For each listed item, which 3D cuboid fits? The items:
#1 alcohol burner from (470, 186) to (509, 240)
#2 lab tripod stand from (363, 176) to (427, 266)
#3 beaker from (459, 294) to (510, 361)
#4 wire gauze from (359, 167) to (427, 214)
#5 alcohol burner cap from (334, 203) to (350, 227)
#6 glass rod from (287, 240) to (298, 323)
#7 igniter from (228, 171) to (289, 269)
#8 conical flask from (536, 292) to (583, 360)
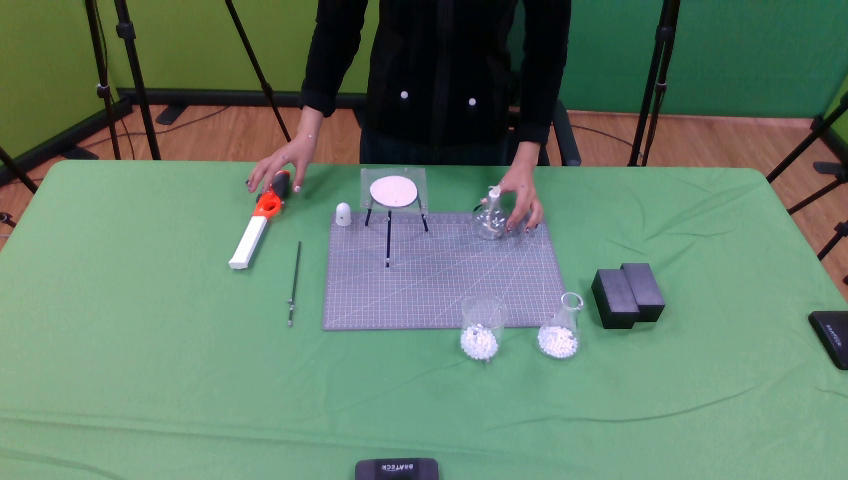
[{"bbox_3d":[0.132,-0.058,1.199,0.078,0.120,0.077,1,43,-1],"label":"alcohol burner"},{"bbox_3d":[-0.057,-0.047,1.159,0.148,0.132,0.147,3,44,-2],"label":"lab tripod stand"},{"bbox_3d":[0.095,0.147,1.012,0.083,0.101,0.074,26,49,21],"label":"beaker"},{"bbox_3d":[-0.058,-0.093,1.110,0.125,0.011,0.120,2,45,-5],"label":"wire gauze"},{"bbox_3d":[-0.166,-0.054,1.220,0.034,0.048,0.033,2,46,-2],"label":"alcohol burner cap"},{"bbox_3d":[-0.242,0.072,1.119,0.008,0.008,0.198,-1,47,-5],"label":"glass rod"},{"bbox_3d":[-0.328,-0.049,1.218,0.057,0.025,0.275,1,45,10],"label":"igniter"},{"bbox_3d":[0.234,0.139,1.015,0.075,0.122,0.075,2,46,-2],"label":"conical flask"}]
